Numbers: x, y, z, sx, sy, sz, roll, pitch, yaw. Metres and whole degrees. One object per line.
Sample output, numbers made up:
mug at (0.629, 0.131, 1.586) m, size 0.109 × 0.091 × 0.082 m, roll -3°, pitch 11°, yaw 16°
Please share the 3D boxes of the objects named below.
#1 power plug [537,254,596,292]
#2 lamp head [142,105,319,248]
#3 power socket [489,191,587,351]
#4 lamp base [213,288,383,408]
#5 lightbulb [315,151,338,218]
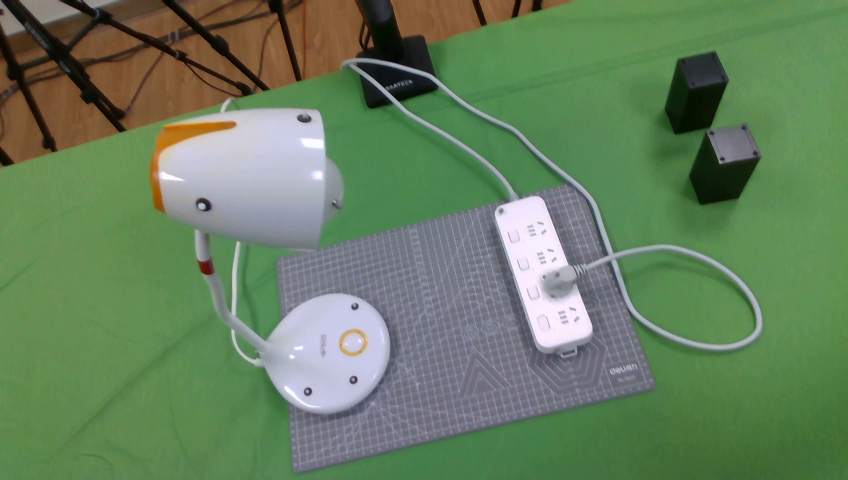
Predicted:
power plug at (0.178, 0.045, 0.755) m, size 0.072 × 0.053 × 0.035 m, roll -6°, pitch 65°, yaw 4°
lamp head at (-0.146, -0.047, 0.461) m, size 0.123 × 0.113 × 0.111 m, roll -2°, pitch 62°, yaw -15°
power socket at (0.145, 0.033, 0.787) m, size 0.072 × 0.033 × 0.224 m, roll -16°, pitch 63°, yaw 1°
lamp base at (-0.156, 0.109, 0.722) m, size 0.179 × 0.182 × 0.159 m, roll -19°, pitch 62°, yaw 4°
lightbulb at (-0.120, -0.047, 0.462) m, size 0.108 × 0.060 × 0.059 m, roll 8°, pitch 63°, yaw -17°
